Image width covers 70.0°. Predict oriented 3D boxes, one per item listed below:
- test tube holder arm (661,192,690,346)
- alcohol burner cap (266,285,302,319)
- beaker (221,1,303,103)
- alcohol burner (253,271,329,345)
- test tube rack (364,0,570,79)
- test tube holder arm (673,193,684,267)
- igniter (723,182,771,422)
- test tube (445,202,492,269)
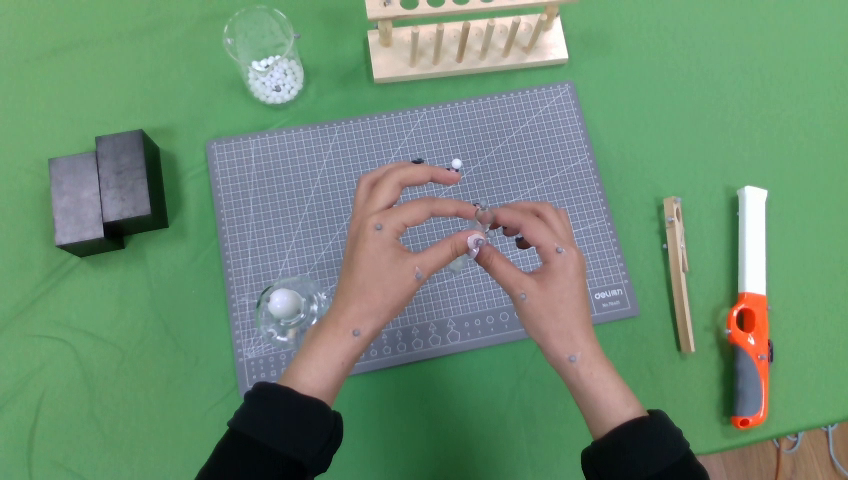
[{"bbox_3d":[0.288,0.032,0.696,0.013,0.015,0.177,8,75,-32],"label":"test tube holder arm"},{"bbox_3d":[-0.135,0.058,0.579,0.034,0.048,0.033,1,81,-5],"label":"alcohol burner cap"},{"bbox_3d":[-0.179,-0.206,0.689,0.074,0.100,0.083,-8,77,-5],"label":"beaker"},{"bbox_3d":[-0.137,0.066,0.615,0.078,0.119,0.077,1,74,-4],"label":"alcohol burner"},{"bbox_3d":[0.053,-0.254,0.720,0.242,0.085,0.066,-7,77,-5],"label":"test tube rack"},{"bbox_3d":[0.293,-0.011,0.709,0.010,0.015,0.087,9,74,-32],"label":"test tube holder arm"},{"bbox_3d":[0.367,0.066,0.688,0.057,0.025,0.275,11,76,-11],"label":"igniter"},{"bbox_3d":[0.036,0.001,0.525,0.017,0.151,0.017,2,72,-6],"label":"test tube"}]
